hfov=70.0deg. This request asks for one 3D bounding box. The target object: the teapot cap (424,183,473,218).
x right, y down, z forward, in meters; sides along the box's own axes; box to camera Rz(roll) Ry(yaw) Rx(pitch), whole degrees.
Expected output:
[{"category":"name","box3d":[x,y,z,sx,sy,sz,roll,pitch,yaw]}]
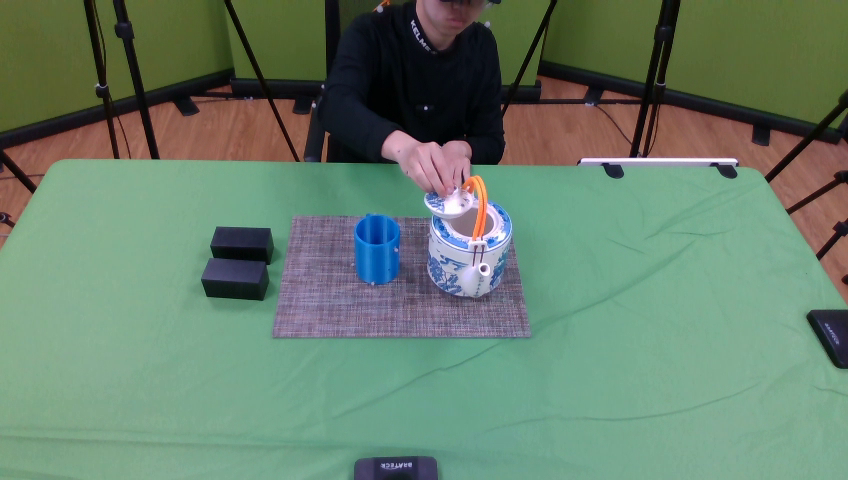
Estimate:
[{"category":"teapot cap","box3d":[0.042,-0.072,1.028,0.085,0.044,0.084,1,41,-1]}]

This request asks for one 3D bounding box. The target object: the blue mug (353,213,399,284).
[{"category":"blue mug","box3d":[-0.093,0.006,1.123,0.082,0.106,0.115,-11,48,-15]}]

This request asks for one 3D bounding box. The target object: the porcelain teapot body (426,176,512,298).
[{"category":"porcelain teapot body","box3d":[0.085,0.009,1.051,0.145,0.226,0.204,-5,47,-9]}]
